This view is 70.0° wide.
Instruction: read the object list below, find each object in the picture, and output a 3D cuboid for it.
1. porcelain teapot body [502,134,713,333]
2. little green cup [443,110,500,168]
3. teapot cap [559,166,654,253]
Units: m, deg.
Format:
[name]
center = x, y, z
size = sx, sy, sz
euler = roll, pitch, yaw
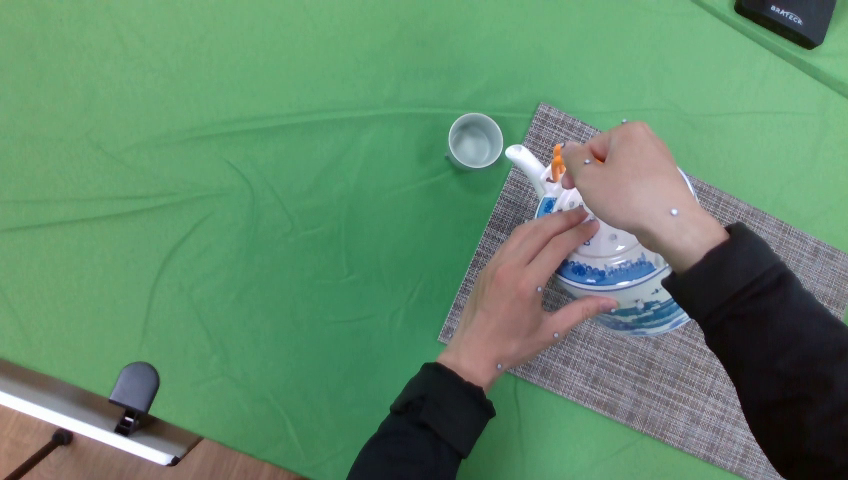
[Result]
[porcelain teapot body]
center = 0.156, -0.025, 0.574
size = 0.145, 0.203, 0.228
euler = -50, 139, 0
[little green cup]
center = 0.050, -0.109, 0.673
size = 0.062, 0.038, 0.061
euler = 1, 85, -8
[teapot cap]
center = 0.155, -0.030, 0.524
size = 0.085, 0.084, 0.044
euler = -57, 137, -8
